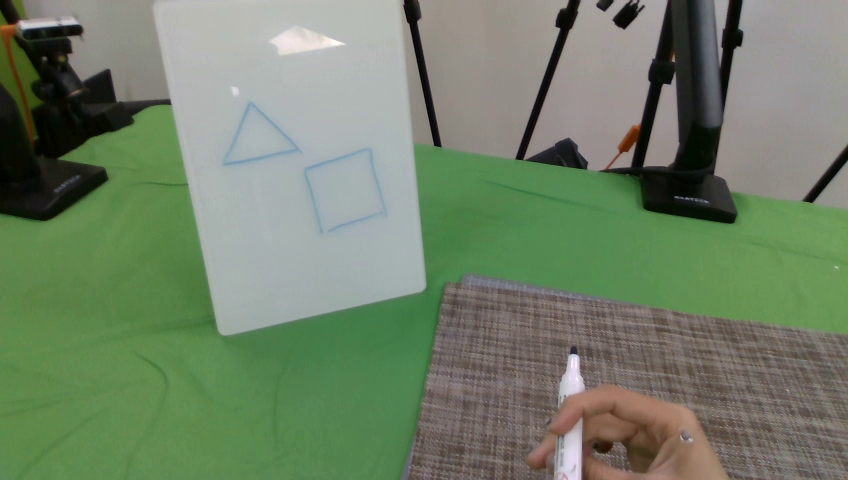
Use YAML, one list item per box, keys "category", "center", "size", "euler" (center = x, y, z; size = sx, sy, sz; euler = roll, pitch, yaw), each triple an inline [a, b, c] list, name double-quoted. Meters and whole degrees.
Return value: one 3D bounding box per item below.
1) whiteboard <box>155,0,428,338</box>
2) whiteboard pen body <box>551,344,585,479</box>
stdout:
- category: "whiteboard"
  center: [-0.132, -0.087, 0.634]
  size: [0.218, 0.307, 0.142]
  euler: [-11, 18, -20]
- category: "whiteboard pen body"
  center: [0.081, 0.118, 0.338]
  size: [0.017, 0.017, 0.139]
  euler: [9, 51, 8]
